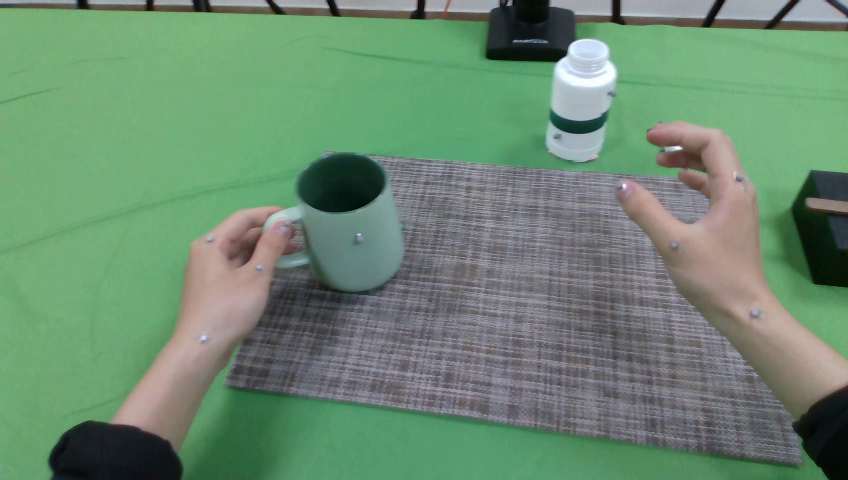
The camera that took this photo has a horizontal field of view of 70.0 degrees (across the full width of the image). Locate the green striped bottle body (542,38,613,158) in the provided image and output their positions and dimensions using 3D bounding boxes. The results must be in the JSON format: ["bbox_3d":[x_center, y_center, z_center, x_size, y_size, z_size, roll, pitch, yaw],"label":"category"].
[{"bbox_3d":[0.163,-0.151,0.646,0.063,0.120,0.062,-2,49,2],"label":"green striped bottle body"}]

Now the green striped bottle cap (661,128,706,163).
[{"bbox_3d":[0.285,-0.104,0.666,0.044,0.020,0.044,-1,45,2],"label":"green striped bottle cap"}]

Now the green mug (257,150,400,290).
[{"bbox_3d":[-0.085,-0.011,0.540,0.125,0.106,0.091,-19,51,-13],"label":"green mug"}]

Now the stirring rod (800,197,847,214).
[{"bbox_3d":[0.423,-0.023,0.528,0.176,0.006,0.014,7,50,9],"label":"stirring rod"}]
